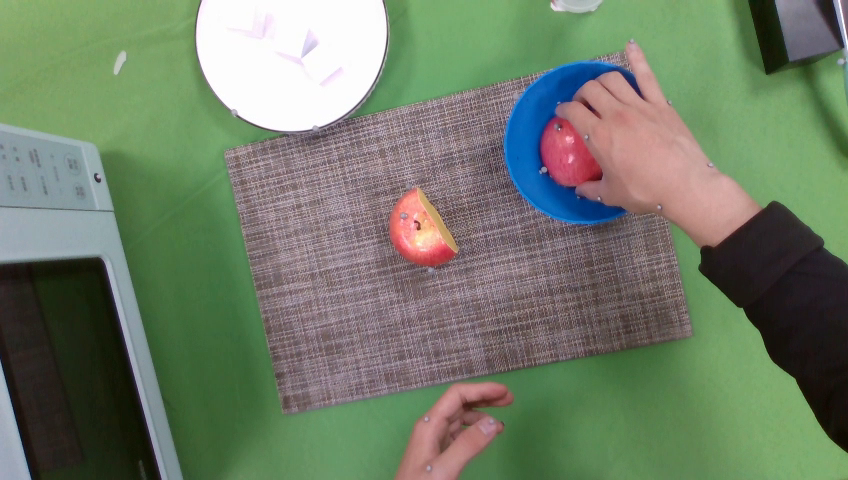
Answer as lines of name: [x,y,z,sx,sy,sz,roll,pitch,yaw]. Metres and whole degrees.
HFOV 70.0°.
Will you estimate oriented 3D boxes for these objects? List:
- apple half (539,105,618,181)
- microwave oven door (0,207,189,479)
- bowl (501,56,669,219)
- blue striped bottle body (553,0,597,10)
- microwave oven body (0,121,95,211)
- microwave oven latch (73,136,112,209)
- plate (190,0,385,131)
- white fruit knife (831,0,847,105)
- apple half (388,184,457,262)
apple half: [0.151,-0.095,0.589,0.081,0.033,0.081,1,93,11]
microwave oven door: [-0.327,0.144,0.562,0.039,0.244,0.355,-15,91,7]
bowl: [0.151,-0.095,0.595,0.151,0.077,0.151,0,92,6]
blue striped bottle body: [0.151,-0.268,0.570,0.063,0.121,0.063,0,92,6]
microwave oven body: [-0.478,0.139,0.583,0.326,0.260,0.441,-14,91,6]
microwave oven latch: [-0.368,-0.071,0.659,0.030,0.029,0.079,-14,92,6]
plate: [-0.142,-0.218,0.646,0.207,0.039,0.207,0,93,6]
white fruit knife: [0.394,-0.172,0.565,0.016,0.027,0.208,-17,108,24]
apple half: [-0.008,-0.011,0.619,0.053,0.074,0.081,-32,92,10]
